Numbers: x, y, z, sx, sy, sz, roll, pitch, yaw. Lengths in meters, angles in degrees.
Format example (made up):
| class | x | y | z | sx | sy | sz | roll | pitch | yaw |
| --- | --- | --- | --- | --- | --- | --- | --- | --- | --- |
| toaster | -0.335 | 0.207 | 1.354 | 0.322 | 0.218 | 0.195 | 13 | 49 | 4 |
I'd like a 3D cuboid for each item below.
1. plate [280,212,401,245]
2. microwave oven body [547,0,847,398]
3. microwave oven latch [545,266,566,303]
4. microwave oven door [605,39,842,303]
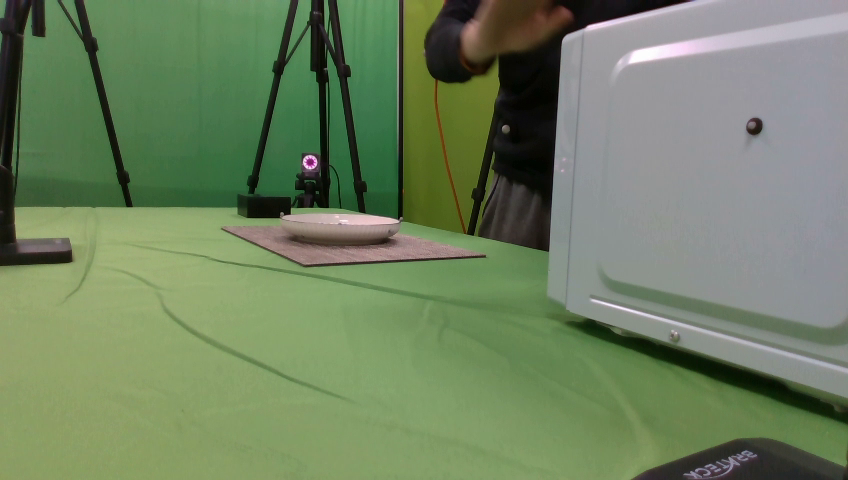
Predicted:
| class | x | y | z | sx | sy | sz | roll | pitch | yaw |
| --- | --- | --- | --- | --- | --- | --- | --- | --- | --- |
| plate | -0.145 | -0.021 | 1.057 | 0.209 | 0.038 | 0.209 | 2 | 8 | 0 |
| microwave oven body | 0.378 | -0.045 | 0.509 | 0.444 | 0.260 | 0.324 | -2 | 8 | -31 |
| microwave oven latch | 0.148 | 0.039 | 0.554 | 0.079 | 0.029 | 0.030 | -1 | 7 | -28 |
| microwave oven door | 0.341 | -0.070 | 0.654 | 0.358 | 0.243 | 0.039 | -3 | 9 | -31 |
